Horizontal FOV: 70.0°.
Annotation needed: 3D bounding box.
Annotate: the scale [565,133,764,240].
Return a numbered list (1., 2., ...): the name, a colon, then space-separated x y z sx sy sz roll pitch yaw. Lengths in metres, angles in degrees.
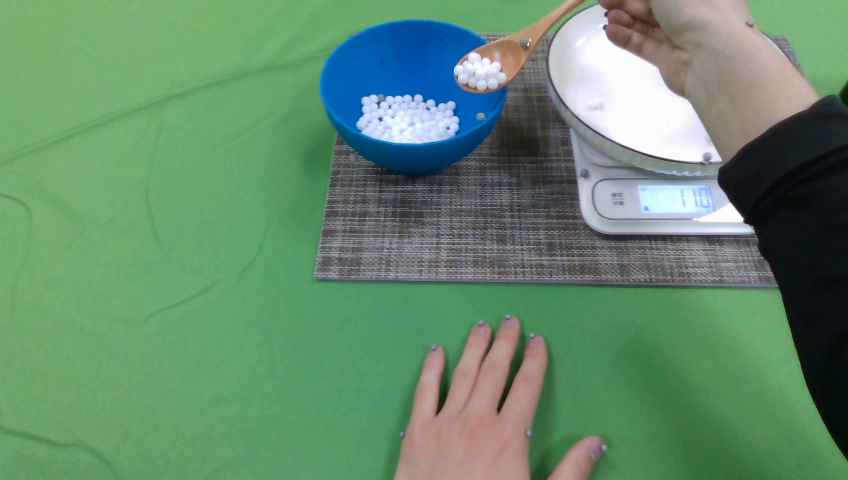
1. scale: 0.199 -0.087 0.527 0.149 0.032 0.199 0 55 1

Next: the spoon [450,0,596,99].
1. spoon: 0.104 -0.164 0.445 0.194 0.022 0.041 -33 66 12

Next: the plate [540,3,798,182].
1. plate: 0.200 -0.125 0.514 0.209 0.038 0.207 0 55 0

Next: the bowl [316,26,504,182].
1. bowl: -0.010 -0.102 0.511 0.151 0.077 0.150 0 55 1
